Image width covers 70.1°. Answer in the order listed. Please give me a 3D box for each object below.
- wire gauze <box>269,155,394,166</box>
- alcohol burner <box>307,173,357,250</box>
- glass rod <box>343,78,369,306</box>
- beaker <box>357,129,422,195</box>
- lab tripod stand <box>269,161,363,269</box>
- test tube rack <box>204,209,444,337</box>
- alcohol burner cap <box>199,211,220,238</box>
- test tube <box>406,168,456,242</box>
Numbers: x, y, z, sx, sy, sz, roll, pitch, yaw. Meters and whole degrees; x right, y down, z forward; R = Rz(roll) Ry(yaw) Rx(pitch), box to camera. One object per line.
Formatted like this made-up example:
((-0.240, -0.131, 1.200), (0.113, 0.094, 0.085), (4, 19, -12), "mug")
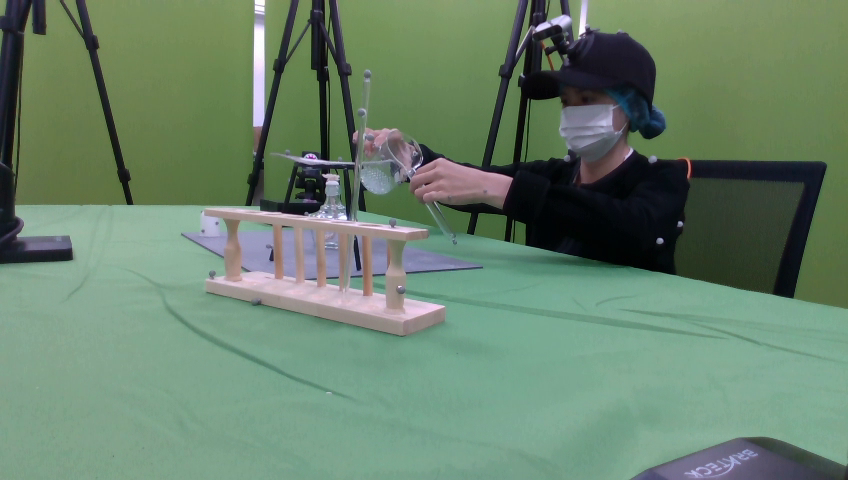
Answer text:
((-0.121, -0.102, 0.785), (0.122, 0.011, 0.124), (-3, 10, -39), "wire gauze")
((-0.144, -0.045, 0.940), (0.078, 0.119, 0.078), (1, 8, 0), "alcohol burner")
((-0.059, -0.038, 0.522), (0.008, 0.199, 0.008), (6, 5, 0), "glass rod")
((-0.061, -0.127, 1.033), (0.074, 0.083, 0.100), (2, -28, -41), "beaker")
((-0.125, -0.036, 0.794), (0.148, 0.131, 0.148), (5, 7, 0), "lab tripod stand")
((-0.100, 0.021, 0.565), (0.241, 0.085, 0.067), (7, 9, 32), "test tube rack")
((-0.356, -0.027, 1.002), (0.034, 0.048, 0.034), (2, 7, 0), "alcohol burner cap")
((0.010, -0.057, 0.957), (0.017, 0.017, 0.149), (-4, 53, -43), "test tube")
